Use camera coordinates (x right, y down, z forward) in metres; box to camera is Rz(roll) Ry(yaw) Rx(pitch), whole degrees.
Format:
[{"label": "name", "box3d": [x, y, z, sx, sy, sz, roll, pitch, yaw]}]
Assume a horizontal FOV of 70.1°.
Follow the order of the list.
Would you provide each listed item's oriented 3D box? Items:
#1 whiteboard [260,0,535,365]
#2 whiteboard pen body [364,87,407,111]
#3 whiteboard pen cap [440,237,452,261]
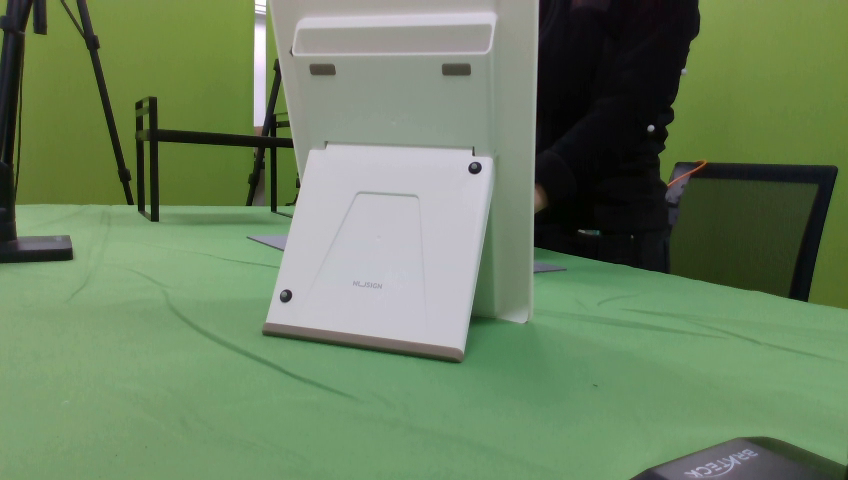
[{"label": "whiteboard", "box3d": [-0.037, -0.041, 0.457, 0.216, 0.305, 0.144, 5, 28, 19]}, {"label": "whiteboard pen body", "box3d": [-0.070, -0.256, 1.104, 0.017, 0.017, 0.140, -3, 28, -37]}, {"label": "whiteboard pen cap", "box3d": [0.031, 0.013, 0.850, 0.018, 0.033, 0.018, -1, 5, 0]}]
